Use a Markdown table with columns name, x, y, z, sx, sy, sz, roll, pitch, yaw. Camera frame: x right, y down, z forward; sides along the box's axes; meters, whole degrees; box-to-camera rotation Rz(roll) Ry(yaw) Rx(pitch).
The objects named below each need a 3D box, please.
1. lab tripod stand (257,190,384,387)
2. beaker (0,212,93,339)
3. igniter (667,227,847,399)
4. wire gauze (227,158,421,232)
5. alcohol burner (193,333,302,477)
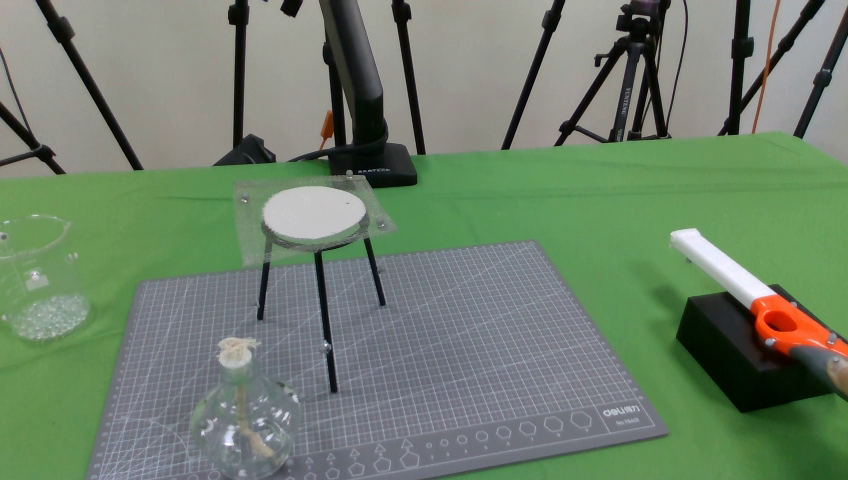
| name | x | y | z | sx | sy | sz | roll | pitch | yaw |
| --- | --- | --- | --- | --- | --- | --- | --- | --- | --- |
| lab tripod stand | -0.091 | 0.035 | 0.543 | 0.148 | 0.132 | 0.147 | 3 | 34 | -2 |
| beaker | -0.357 | 0.034 | 0.566 | 0.073 | 0.101 | 0.084 | 24 | 39 | 29 |
| igniter | 0.309 | 0.062 | 0.541 | 0.057 | 0.025 | 0.273 | -9 | 32 | -11 |
| wire gauze | -0.085 | -0.038 | 0.502 | 0.125 | 0.011 | 0.120 | -15 | 32 | -36 |
| alcohol burner | -0.128 | 0.114 | 0.438 | 0.078 | 0.120 | 0.077 | 3 | 32 | -1 |
